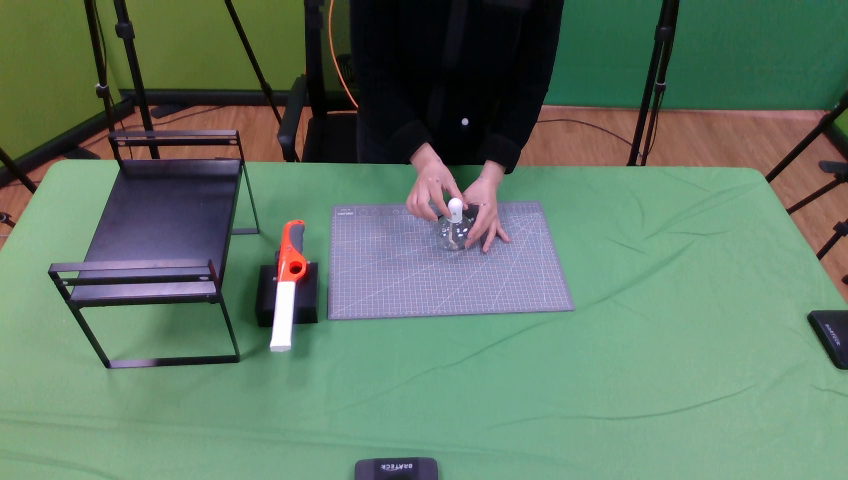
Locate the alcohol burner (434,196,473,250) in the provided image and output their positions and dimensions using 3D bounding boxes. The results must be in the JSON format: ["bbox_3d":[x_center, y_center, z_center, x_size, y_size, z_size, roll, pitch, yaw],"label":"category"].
[{"bbox_3d":[0.058,-0.038,1.169,0.078,0.119,0.077,3,44,-3],"label":"alcohol burner"}]

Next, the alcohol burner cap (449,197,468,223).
[{"bbox_3d":[0.062,-0.060,1.146,0.034,0.048,0.033,-12,42,11],"label":"alcohol burner cap"}]

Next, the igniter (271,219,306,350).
[{"bbox_3d":[-0.235,0.067,1.047,0.057,0.025,0.274,0,49,-6],"label":"igniter"}]
